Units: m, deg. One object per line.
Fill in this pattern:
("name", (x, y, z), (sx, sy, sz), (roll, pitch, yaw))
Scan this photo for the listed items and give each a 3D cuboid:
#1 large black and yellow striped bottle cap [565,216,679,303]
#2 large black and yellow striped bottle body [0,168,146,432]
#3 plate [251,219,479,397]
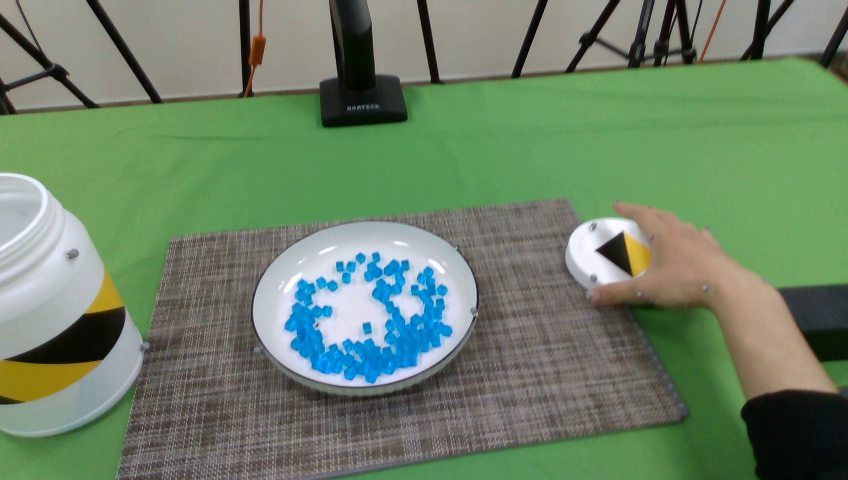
("large black and yellow striped bottle cap", (0.205, 0.017, 0.631), (0.115, 0.019, 0.114), (3, 43, -3))
("large black and yellow striped bottle body", (-0.312, 0.049, 0.474), (0.131, 0.185, 0.129), (0, 43, 0))
("plate", (-0.052, 0.060, 0.566), (0.208, 0.039, 0.205), (0, 43, 0))
